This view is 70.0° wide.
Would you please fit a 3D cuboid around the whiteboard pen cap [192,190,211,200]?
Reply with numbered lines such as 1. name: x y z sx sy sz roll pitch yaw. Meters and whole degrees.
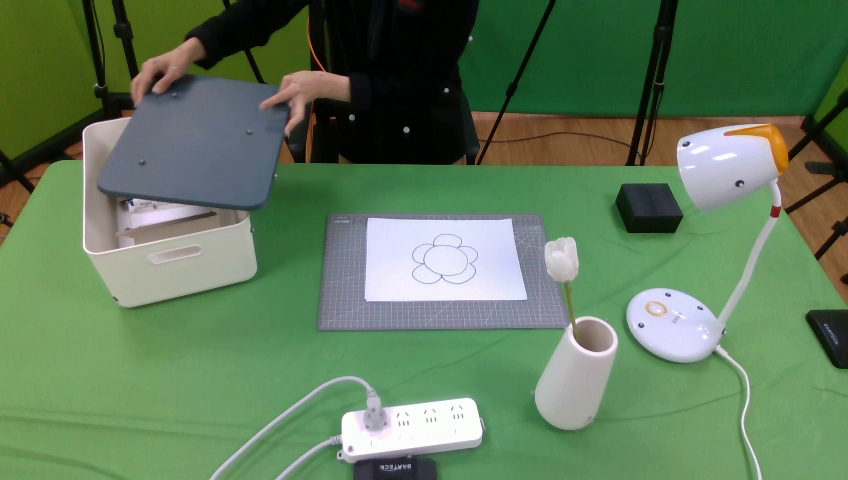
1. whiteboard pen cap: -0.443 -0.089 1.204 0.033 0.018 0.018 -13 49 -12

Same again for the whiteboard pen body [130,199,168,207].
1. whiteboard pen body: -0.499 -0.081 1.188 0.141 0.017 0.017 -8 48 -16

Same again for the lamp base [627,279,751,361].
1. lamp base: 0.460 0.100 1.027 0.178 0.181 0.160 27 51 17

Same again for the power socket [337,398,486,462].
1. power socket: -0.018 0.285 0.914 0.227 0.033 0.071 -4 46 -8

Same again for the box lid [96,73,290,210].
1. box lid: -0.390 -0.185 1.076 0.264 0.015 0.369 5 44 -8

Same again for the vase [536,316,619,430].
1. vase: 0.229 0.200 0.901 0.098 0.201 0.097 3 46 -3

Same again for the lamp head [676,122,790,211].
1. lamp head: 0.423 -0.104 0.819 0.122 0.113 0.112 -13 33 40

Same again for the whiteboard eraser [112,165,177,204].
1. whiteboard eraser: -0.566 -0.111 1.227 0.113 0.042 0.055 -22 59 -25

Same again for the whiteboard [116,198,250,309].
1. whiteboard: -0.472 -0.055 1.130 0.217 0.144 0.303 -14 50 -16

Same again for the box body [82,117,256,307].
1. box body: -0.471 -0.070 1.131 0.254 0.161 0.361 -14 49 -17

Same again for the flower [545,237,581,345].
1. flower: 0.213 0.137 0.846 0.038 0.364 0.044 20 54 39

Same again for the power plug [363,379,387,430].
1. power plug: -0.071 0.252 0.911 0.035 0.053 0.072 3 40 0
